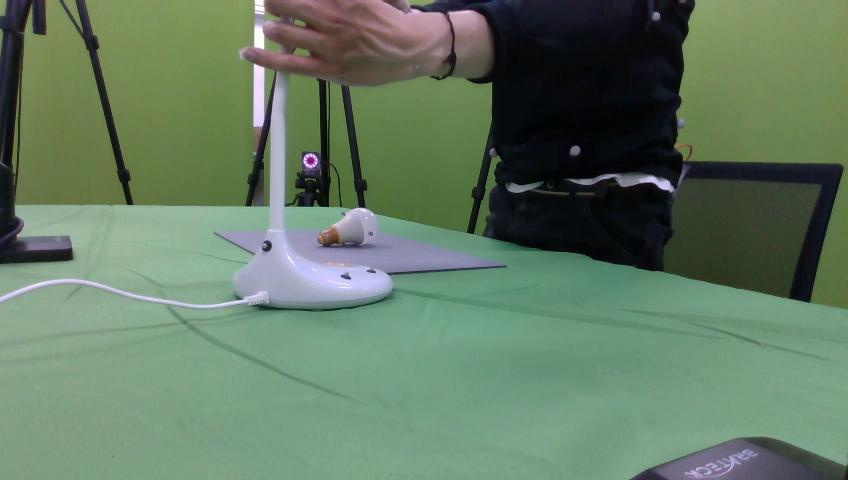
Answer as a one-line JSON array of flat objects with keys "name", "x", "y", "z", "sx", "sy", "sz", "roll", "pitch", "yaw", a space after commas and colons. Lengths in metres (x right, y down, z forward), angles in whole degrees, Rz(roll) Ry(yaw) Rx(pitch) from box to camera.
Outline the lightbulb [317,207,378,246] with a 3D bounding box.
[{"name": "lightbulb", "x": -0.123, "y": -0.016, "z": 0.968, "sx": 0.108, "sy": 0.059, "sz": 0.059, "roll": -22, "pitch": 20, "yaw": -33}]

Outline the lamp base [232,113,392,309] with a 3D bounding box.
[{"name": "lamp base", "x": -0.113, "y": -0.032, "z": 0.595, "sx": 0.160, "sy": 0.180, "sz": 0.179, "roll": 4, "pitch": 10, "yaw": 17}]
